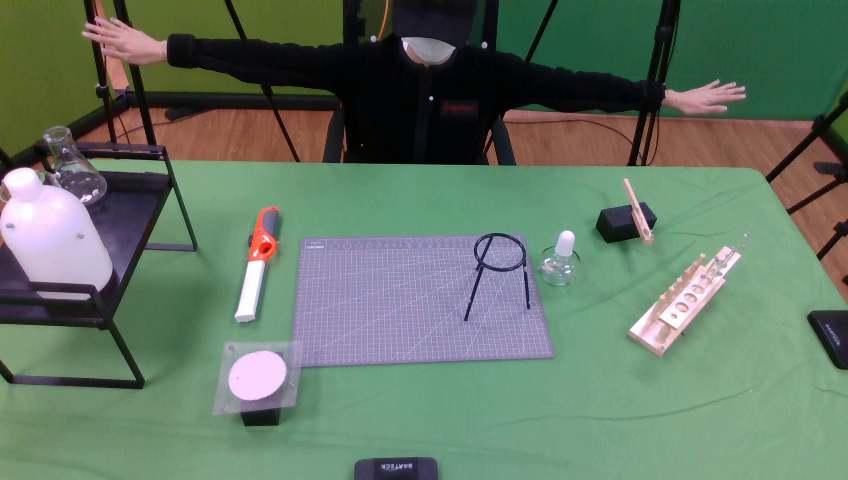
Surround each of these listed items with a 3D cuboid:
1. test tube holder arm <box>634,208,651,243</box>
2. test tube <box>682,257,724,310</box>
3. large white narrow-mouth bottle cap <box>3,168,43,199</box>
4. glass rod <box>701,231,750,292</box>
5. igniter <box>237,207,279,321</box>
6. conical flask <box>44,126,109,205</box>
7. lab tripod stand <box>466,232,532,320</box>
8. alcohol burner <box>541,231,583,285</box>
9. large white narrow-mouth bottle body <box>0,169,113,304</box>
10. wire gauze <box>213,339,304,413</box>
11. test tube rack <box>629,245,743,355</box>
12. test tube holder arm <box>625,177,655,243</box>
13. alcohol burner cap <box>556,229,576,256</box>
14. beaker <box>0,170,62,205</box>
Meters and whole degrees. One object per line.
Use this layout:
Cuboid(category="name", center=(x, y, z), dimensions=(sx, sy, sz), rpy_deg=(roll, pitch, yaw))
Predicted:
Cuboid(category="test tube holder arm", center=(0.428, -0.030, 1.189), dimensions=(0.010, 0.015, 0.087), rpy_deg=(2, 47, -2))
Cuboid(category="test tube", center=(0.475, 0.080, 1.037), dimensions=(0.017, 0.151, 0.017), rpy_deg=(2, 51, -2))
Cuboid(category="large white narrow-mouth bottle cap", center=(-0.489, -0.069, 0.739), dimensions=(0.038, 0.024, 0.037), rpy_deg=(2, 46, -2))
Cuboid(category="glass rod", center=(0.519, 0.045, 1.050), dimensions=(0.008, 0.201, 0.008), rpy_deg=(0, 55, 0))
Cuboid(category="igniter", center=(-0.309, 0.035, 1.136), dimensions=(0.057, 0.025, 0.274), rpy_deg=(-7, 45, 5))
Cuboid(category="conical flask", center=(-0.554, -0.119, 0.953), dimensions=(0.075, 0.122, 0.075), rpy_deg=(2, 46, -2))
Cuboid(category="lab tripod stand", center=(0.125, 0.059, 1.065), dimensions=(0.148, 0.132, 0.147), rpy_deg=(1, 45, 0))
Cuboid(category="alcohol burner", center=(0.258, 0.028, 1.123), dimensions=(0.078, 0.120, 0.077), rpy_deg=(1, 48, -1))
Cuboid(category="large white narrow-mouth bottle body", center=(-0.492, -0.010, 0.801), dimensions=(0.102, 0.195, 0.101), rpy_deg=(2, 46, -2))
Cuboid(category="wire gauze", center=(-0.250, 0.203, 0.925), dimensions=(0.121, 0.011, 0.124), rpy_deg=(-1, 46, -3))
Cuboid(category="test tube rack", center=(0.474, 0.095, 1.091), dimensions=(0.242, 0.085, 0.066), rpy_deg=(-34, 56, -31))
Cuboid(category="test tube holder arm", center=(0.433, -0.063, 1.220), dimensions=(0.013, 0.015, 0.177), rpy_deg=(1, 47, -3))
Cuboid(category="alcohol burner cap", center=(0.260, 0.002, 1.098), dimensions=(0.034, 0.048, 0.033), rpy_deg=(3, 40, -2))
Cuboid(category="beaker", center=(-0.562, -0.042, 0.894), dimensions=(0.084, 0.101, 0.073), rpy_deg=(-2, 47, -7))
